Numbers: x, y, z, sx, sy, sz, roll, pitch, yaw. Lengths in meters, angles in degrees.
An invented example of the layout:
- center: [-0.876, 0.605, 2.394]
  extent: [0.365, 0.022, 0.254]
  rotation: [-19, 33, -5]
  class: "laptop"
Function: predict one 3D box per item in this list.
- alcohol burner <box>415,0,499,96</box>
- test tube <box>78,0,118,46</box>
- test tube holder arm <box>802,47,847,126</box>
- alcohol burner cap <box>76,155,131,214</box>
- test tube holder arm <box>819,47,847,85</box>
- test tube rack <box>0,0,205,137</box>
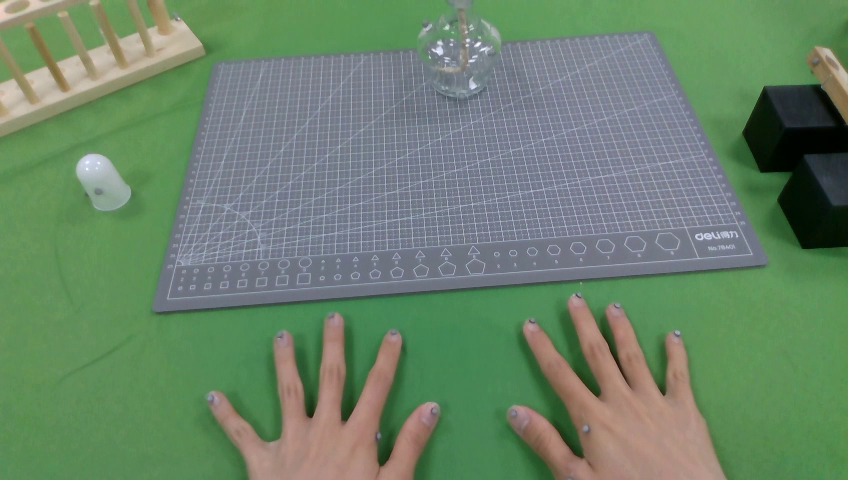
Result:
- center: [0.030, -0.190, 0.541]
  extent: [0.078, 0.120, 0.077]
  rotation: [0, 53, 1]
  class: "alcohol burner"
- center: [-0.327, -0.247, 0.557]
  extent: [0.017, 0.152, 0.017]
  rotation: [-7, 46, 8]
  class: "test tube"
- center: [0.323, -0.121, 0.477]
  extent: [0.010, 0.015, 0.087]
  rotation: [-3, 53, -2]
  class: "test tube holder arm"
- center: [-0.265, -0.048, 0.496]
  extent: [0.034, 0.048, 0.033]
  rotation: [-1, 52, 2]
  class: "alcohol burner cap"
- center: [0.332, -0.085, 0.451]
  extent: [0.013, 0.015, 0.176]
  rotation: [-4, 53, -3]
  class: "test tube holder arm"
- center: [-0.347, -0.182, 0.574]
  extent: [0.242, 0.086, 0.066]
  rotation: [-30, 57, -19]
  class: "test tube rack"
